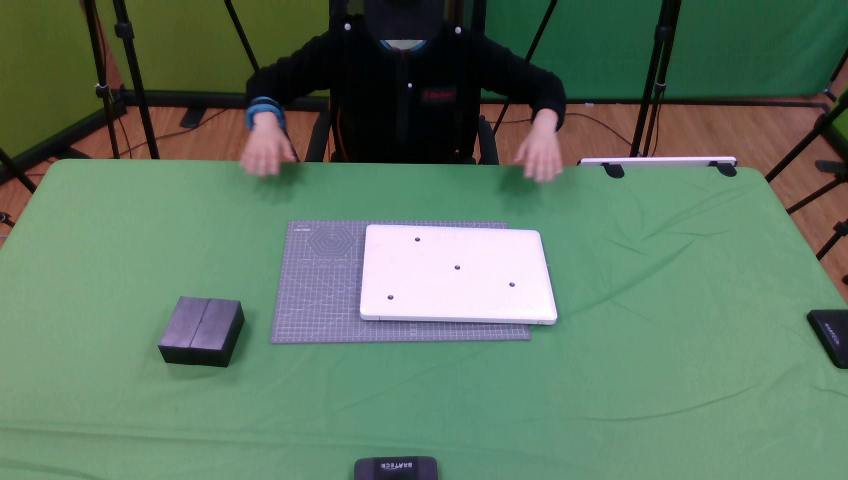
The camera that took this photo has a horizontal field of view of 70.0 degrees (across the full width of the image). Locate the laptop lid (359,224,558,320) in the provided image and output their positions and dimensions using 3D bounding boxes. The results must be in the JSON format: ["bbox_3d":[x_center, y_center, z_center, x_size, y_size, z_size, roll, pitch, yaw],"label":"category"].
[{"bbox_3d":[0.062,0.053,1.137,0.357,0.013,0.240,3,44,-2],"label":"laptop lid"}]

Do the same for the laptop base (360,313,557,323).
[{"bbox_3d":[0.061,0.063,1.144,0.354,0.023,0.234,2,43,-3],"label":"laptop base"}]
